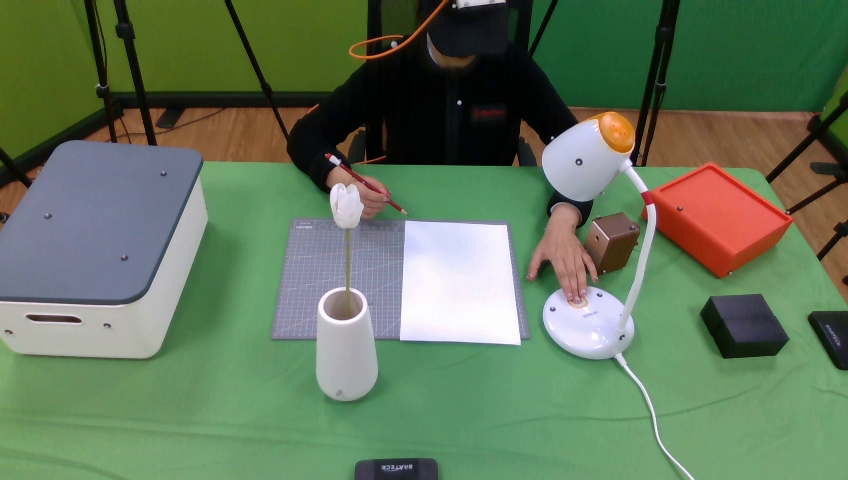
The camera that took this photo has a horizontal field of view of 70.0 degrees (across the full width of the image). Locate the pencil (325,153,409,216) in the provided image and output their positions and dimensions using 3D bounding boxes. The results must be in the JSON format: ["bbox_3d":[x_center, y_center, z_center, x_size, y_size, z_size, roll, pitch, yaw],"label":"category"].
[{"bbox_3d":[-0.107,-0.104,1.150,0.194,0.012,0.012,36,49,-6],"label":"pencil"}]

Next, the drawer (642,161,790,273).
[{"bbox_3d":[0.596,-0.051,1.246,0.194,0.073,0.210,-23,53,-25],"label":"drawer"}]

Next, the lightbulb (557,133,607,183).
[{"bbox_3d":[0.242,-0.127,0.917,0.059,0.108,0.059,6,67,-13],"label":"lightbulb"}]

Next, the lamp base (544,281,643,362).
[{"bbox_3d":[0.303,0.095,1.015,0.161,0.181,0.178,-24,54,-24],"label":"lamp base"}]

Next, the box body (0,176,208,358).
[{"bbox_3d":[-0.546,0.017,1.045,0.254,0.161,0.361,2,46,-2],"label":"box body"}]

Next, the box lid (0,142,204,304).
[{"bbox_3d":[-0.534,-0.044,0.995,0.263,0.015,0.369,3,45,-3],"label":"box lid"}]

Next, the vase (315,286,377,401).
[{"bbox_3d":[-0.119,0.159,0.911,0.098,0.201,0.097,2,47,-2],"label":"vase"}]

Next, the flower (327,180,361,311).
[{"bbox_3d":[-0.110,0.087,0.867,0.044,0.363,0.038,22,33,35],"label":"flower"}]

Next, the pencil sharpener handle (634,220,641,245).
[{"bbox_3d":[0.405,-0.015,1.162,0.031,0.068,0.035,-15,45,-18],"label":"pencil sharpener handle"}]

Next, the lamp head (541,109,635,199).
[{"bbox_3d":[0.253,-0.131,0.894,0.113,0.123,0.112,10,66,-23],"label":"lamp head"}]

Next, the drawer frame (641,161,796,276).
[{"bbox_3d":[0.599,-0.051,1.244,0.202,0.083,0.212,-24,52,-25],"label":"drawer frame"}]

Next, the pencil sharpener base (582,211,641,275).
[{"bbox_3d":[0.357,0.005,1.156,0.077,0.107,0.061,-15,48,-18],"label":"pencil sharpener base"}]
